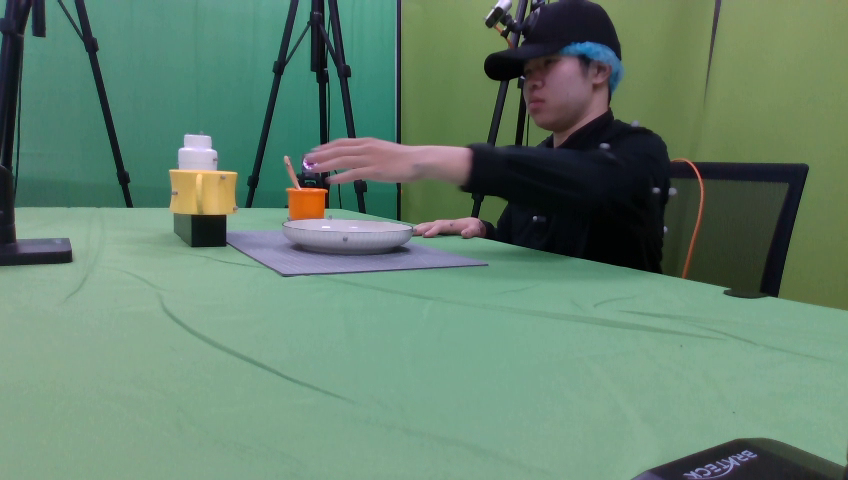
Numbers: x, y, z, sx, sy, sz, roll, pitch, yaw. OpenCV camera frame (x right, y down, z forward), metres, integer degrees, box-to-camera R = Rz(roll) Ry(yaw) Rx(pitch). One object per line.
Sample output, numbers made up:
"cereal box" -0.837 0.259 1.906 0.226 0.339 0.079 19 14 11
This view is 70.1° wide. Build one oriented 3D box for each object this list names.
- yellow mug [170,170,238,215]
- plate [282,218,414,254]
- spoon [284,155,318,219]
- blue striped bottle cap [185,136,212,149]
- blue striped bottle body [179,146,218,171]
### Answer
"yellow mug" -0.342 -0.074 0.939 0.100 0.064 0.130 0 8 -16
"plate" -0.121 -0.007 0.971 0.208 0.039 0.207 2 7 0
"spoon" -0.286 -0.122 1.367 0.042 0.021 0.193 -6 51 -36
"blue striped bottle cap" -0.390 -0.169 1.047 0.044 0.020 0.044 4 10 0
"blue striped bottle body" -0.392 -0.119 1.053 0.063 0.120 0.063 2 8 0
